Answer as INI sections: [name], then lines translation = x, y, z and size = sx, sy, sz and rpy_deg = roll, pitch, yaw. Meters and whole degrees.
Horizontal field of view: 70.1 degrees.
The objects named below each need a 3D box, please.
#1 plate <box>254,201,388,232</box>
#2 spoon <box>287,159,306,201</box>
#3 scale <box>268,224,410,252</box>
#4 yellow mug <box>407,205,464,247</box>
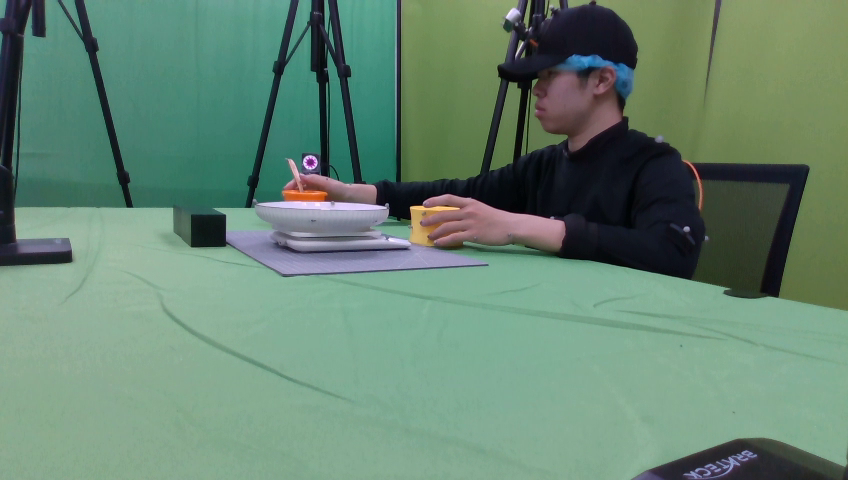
[plate]
translation = -0.161, -0.038, 0.961
size = 0.209, 0.038, 0.209
rpy_deg = 2, 6, 0
[spoon]
translation = -0.260, -0.103, 1.267
size = 0.042, 0.193, 0.021
rpy_deg = 3, -38, -33
[scale]
translation = -0.138, -0.006, 0.979
size = 0.202, 0.031, 0.148
rpy_deg = -1, 9, -30
[yellow mug]
translation = 0.026, -0.027, 1.104
size = 0.099, 0.064, 0.131
rpy_deg = 7, 7, 20
